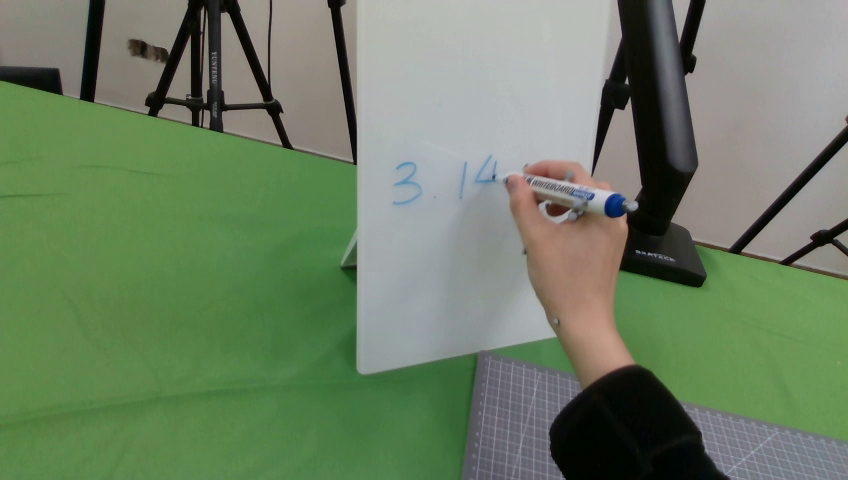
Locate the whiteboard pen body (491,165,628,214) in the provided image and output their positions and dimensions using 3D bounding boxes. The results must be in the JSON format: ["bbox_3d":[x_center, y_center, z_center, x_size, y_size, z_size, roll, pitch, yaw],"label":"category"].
[{"bbox_3d":[0.086,-0.039,0.423,0.017,0.017,0.139,-7,17,-27],"label":"whiteboard pen body"}]

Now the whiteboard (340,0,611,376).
[{"bbox_3d":[0.022,-0.067,0.538,0.218,0.307,0.142,-6,19,-25],"label":"whiteboard"}]
